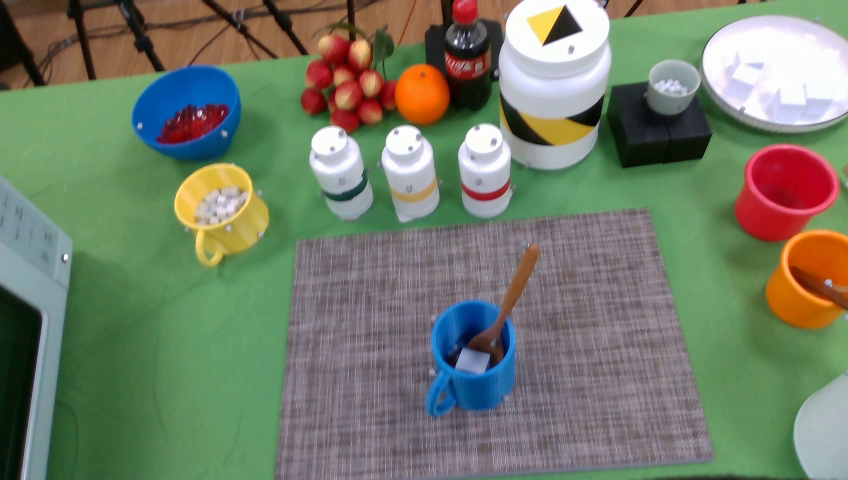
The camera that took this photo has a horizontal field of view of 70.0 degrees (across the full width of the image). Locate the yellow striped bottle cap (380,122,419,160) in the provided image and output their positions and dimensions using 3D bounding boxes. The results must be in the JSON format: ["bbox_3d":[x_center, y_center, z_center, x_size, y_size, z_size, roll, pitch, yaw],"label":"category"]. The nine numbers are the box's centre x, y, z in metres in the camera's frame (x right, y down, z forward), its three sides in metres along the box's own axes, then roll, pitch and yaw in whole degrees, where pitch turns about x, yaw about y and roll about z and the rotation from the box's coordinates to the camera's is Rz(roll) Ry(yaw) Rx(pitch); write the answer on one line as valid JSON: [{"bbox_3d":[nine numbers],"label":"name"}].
[{"bbox_3d":[-0.029,-0.116,0.709,0.044,0.019,0.044,-2,61,5],"label":"yellow striped bottle cap"}]

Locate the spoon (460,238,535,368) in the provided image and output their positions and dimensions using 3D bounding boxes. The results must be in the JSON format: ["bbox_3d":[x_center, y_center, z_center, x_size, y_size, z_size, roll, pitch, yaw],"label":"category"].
[{"bbox_3d":[0.073,0.067,0.587,0.041,0.195,0.021,28,49,10],"label":"spoon"}]

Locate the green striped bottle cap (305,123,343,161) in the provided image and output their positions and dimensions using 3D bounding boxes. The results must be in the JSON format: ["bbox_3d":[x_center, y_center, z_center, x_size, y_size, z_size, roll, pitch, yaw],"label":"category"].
[{"bbox_3d":[-0.119,-0.117,0.720,0.044,0.020,0.044,-2,60,3],"label":"green striped bottle cap"}]

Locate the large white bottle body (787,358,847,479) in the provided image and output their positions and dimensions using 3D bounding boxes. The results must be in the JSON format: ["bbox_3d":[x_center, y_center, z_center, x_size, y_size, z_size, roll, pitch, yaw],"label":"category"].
[{"bbox_3d":[0.415,0.154,0.518,0.130,0.186,0.129,-3,59,5],"label":"large white bottle body"}]

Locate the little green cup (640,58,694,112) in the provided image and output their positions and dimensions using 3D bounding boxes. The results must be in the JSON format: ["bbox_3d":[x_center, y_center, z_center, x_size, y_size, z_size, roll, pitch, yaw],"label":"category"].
[{"bbox_3d":[0.304,-0.194,0.763,0.061,0.039,0.061,-2,57,3],"label":"little green cup"}]

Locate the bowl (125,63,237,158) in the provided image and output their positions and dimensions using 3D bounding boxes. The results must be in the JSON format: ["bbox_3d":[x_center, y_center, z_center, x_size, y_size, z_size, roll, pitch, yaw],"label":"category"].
[{"bbox_3d":[-0.331,-0.170,0.862,0.151,0.077,0.150,-3,60,5],"label":"bowl"}]

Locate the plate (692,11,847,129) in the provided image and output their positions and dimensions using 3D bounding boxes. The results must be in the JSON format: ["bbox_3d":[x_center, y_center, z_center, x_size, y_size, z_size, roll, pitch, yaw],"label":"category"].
[{"bbox_3d":[0.471,-0.228,0.823,0.209,0.038,0.207,-3,60,5],"label":"plate"}]

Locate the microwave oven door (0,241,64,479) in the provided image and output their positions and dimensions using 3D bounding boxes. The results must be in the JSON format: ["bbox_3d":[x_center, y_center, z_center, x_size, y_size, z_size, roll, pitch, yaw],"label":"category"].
[{"bbox_3d":[-0.447,0.146,0.574,0.039,0.246,0.352,-14,59,-1],"label":"microwave oven door"}]

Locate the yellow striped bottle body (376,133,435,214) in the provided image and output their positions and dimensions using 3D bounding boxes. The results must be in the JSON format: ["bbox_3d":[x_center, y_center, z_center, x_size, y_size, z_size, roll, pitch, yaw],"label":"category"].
[{"bbox_3d":[-0.023,-0.090,0.753,0.063,0.121,0.062,-3,59,6],"label":"yellow striped bottle body"}]

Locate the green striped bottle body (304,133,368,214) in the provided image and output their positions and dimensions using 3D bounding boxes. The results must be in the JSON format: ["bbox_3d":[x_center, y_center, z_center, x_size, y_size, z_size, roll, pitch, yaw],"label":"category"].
[{"bbox_3d":[-0.112,-0.090,0.765,0.063,0.120,0.062,-3,59,5],"label":"green striped bottle body"}]

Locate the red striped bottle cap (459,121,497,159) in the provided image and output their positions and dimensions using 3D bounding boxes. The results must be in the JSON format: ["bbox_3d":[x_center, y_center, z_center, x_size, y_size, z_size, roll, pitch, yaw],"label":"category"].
[{"bbox_3d":[0.063,-0.116,0.697,0.044,0.018,0.044,-1,58,2],"label":"red striped bottle cap"}]

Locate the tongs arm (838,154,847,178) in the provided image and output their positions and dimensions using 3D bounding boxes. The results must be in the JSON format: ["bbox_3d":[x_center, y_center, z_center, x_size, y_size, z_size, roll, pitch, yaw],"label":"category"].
[{"bbox_3d":[0.583,0.052,0.646,0.051,0.027,0.381,-15,60,-4],"label":"tongs arm"}]

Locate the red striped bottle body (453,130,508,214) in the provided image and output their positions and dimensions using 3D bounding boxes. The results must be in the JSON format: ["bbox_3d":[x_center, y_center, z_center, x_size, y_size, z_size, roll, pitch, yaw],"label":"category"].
[{"bbox_3d":[0.070,-0.089,0.742,0.063,0.121,0.062,-4,58,7],"label":"red striped bottle body"}]

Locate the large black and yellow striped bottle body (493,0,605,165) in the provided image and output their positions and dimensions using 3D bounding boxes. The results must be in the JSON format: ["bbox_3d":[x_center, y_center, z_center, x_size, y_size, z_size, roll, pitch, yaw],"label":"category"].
[{"bbox_3d":[0.152,-0.196,0.758,0.130,0.185,0.129,-3,59,6],"label":"large black and yellow striped bottle body"}]

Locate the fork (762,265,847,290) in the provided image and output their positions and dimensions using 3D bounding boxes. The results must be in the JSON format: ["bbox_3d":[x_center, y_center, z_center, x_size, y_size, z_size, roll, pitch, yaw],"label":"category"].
[{"bbox_3d":[0.434,0.049,0.599,0.028,0.019,0.206,-33,17,-17],"label":"fork"}]

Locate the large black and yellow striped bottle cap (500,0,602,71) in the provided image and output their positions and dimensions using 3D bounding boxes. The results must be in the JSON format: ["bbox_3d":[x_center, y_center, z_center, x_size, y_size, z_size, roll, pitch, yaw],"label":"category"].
[{"bbox_3d":[0.143,-0.238,0.685,0.115,0.019,0.114,-3,58,6],"label":"large black and yellow striped bottle cap"}]

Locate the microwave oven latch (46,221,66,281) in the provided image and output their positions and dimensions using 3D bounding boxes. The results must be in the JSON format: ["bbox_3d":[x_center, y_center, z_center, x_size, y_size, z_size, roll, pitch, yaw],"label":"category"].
[{"bbox_3d":[-0.478,0.017,0.773,0.030,0.030,0.078,-12,60,-1],"label":"microwave oven latch"}]

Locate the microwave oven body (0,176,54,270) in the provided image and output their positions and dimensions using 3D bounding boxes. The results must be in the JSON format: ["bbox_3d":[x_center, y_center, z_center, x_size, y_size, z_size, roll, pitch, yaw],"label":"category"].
[{"bbox_3d":[-0.597,0.148,0.597,0.326,0.262,0.437,-13,60,-1],"label":"microwave oven body"}]

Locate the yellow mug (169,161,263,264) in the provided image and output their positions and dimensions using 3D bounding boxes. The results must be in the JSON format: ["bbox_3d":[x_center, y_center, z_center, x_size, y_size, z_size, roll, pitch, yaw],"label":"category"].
[{"bbox_3d":[-0.270,-0.031,0.780,0.100,0.064,0.130,4,61,8],"label":"yellow mug"}]

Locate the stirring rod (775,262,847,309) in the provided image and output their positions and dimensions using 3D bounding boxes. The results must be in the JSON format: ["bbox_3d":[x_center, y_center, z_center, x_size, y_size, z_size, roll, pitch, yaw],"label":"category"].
[{"bbox_3d":[0.405,0.051,0.610,0.014,0.006,0.175,-2,16,2],"label":"stirring rod"}]

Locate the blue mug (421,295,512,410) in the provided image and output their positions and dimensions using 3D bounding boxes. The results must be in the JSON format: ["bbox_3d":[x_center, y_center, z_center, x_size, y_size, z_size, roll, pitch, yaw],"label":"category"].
[{"bbox_3d":[0.038,0.127,0.623,0.081,0.107,0.116,35,69,24],"label":"blue mug"}]
